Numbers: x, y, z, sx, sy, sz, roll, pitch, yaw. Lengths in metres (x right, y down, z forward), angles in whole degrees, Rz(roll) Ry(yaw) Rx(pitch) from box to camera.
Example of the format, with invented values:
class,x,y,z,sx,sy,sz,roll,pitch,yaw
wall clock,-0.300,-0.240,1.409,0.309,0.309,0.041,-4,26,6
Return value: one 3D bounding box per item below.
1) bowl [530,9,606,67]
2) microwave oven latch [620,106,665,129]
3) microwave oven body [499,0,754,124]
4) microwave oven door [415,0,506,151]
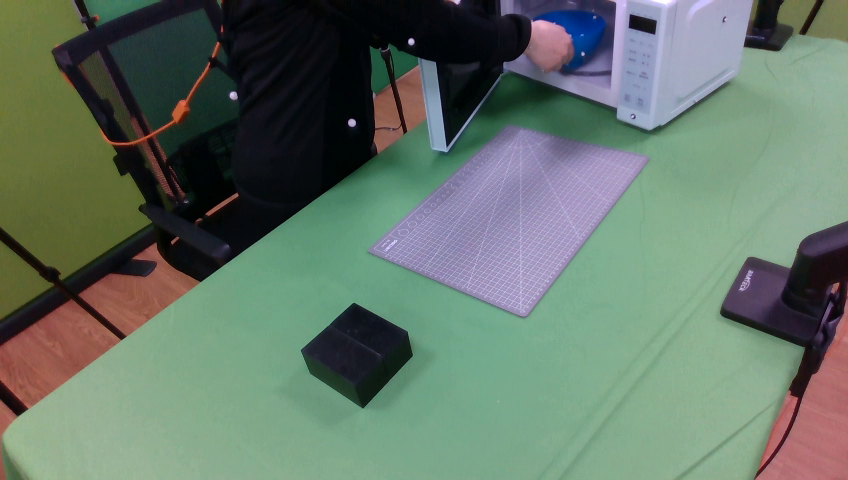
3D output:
class,x,y,z,sx,sy,sz,roll,pitch,yaw
bowl,0.289,-0.404,1.229,0.151,0.077,0.150,-2,41,2
microwave oven latch,0.413,-0.237,1.146,0.030,0.029,0.078,-31,44,-23
microwave oven body,0.402,-0.458,1.259,0.327,0.261,0.437,-33,45,-24
microwave oven door,0.085,-0.377,1.217,0.039,0.245,0.356,11,44,23
